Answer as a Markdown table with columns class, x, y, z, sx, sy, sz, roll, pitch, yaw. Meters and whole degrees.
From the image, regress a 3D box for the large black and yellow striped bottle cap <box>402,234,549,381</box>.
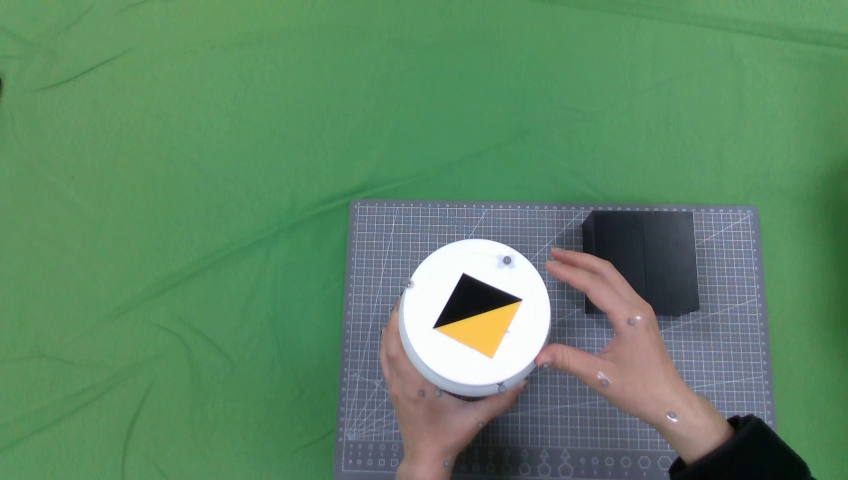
| class | x | y | z | sx | sy | sz | roll | pitch | yaw |
| --- | --- | --- | --- | --- | --- | --- | --- | --- | --- |
| large black and yellow striped bottle cap | 0.040 | 0.052 | 0.472 | 0.115 | 0.019 | 0.114 | -1 | 78 | 3 |

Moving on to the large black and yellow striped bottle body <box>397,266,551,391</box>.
| class | x | y | z | sx | sy | sz | roll | pitch | yaw |
| --- | --- | --- | --- | --- | --- | --- | --- | --- | --- |
| large black and yellow striped bottle body | 0.044 | 0.072 | 0.558 | 0.131 | 0.185 | 0.130 | 0 | 78 | 2 |
